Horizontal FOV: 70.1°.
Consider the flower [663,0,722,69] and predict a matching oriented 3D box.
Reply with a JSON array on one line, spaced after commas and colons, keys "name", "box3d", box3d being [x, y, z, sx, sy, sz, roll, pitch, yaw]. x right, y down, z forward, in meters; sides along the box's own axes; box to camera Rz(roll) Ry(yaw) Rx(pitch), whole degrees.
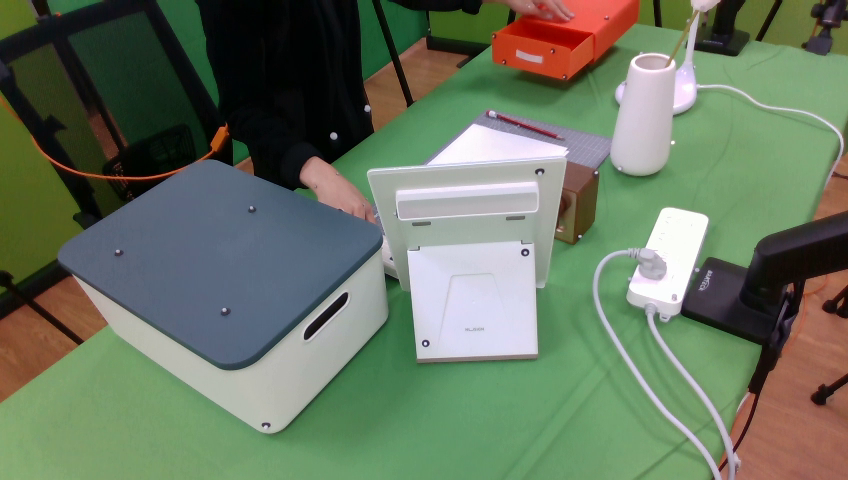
[{"name": "flower", "box3d": [0.379, -0.261, 0.965, 0.044, 0.362, 0.038, 21, 53, 5]}]

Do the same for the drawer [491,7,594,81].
[{"name": "drawer", "box3d": [0.288, -0.446, 1.346, 0.193, 0.073, 0.212, 24, 49, 32]}]

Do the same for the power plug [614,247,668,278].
[{"name": "power plug", "box3d": [0.306, 0.031, 0.851, 0.072, 0.053, 0.035, 24, 49, 33]}]

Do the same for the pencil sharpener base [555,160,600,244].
[{"name": "pencil sharpener base", "box3d": [0.228, -0.057, 0.945, 0.061, 0.107, 0.077, 24, 50, 31]}]

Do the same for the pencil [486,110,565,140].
[{"name": "pencil", "box3d": [0.204, -0.232, 1.226, 0.192, 0.012, 0.012, 29, 52, 33]}]

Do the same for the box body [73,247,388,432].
[{"name": "box body", "box3d": [-0.255, 0.065, 0.827, 0.361, 0.161, 0.255, 21, 48, 29]}]

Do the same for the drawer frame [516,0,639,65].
[{"name": "drawer frame", "box3d": [0.354, -0.506, 1.404, 0.200, 0.083, 0.214, 25, 54, 33]}]

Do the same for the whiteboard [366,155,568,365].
[{"name": "whiteboard", "box3d": [0.059, 0.049, 0.738, 0.217, 0.307, 0.143, -3, 60, 5]}]

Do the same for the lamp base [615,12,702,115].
[{"name": "lamp base", "box3d": [0.484, -0.364, 1.211, 0.180, 0.181, 0.159, -15, 41, -14]}]

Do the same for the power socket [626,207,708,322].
[{"name": "power socket", "box3d": [0.359, 0.025, 0.886, 0.072, 0.033, 0.227, 16, 46, 26]}]

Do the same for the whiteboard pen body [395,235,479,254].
[{"name": "whiteboard pen body", "box3d": [0.019, 0.005, 0.963, 0.140, 0.017, 0.017, 9, 43, 17]}]

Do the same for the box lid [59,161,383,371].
[{"name": "box lid", "box3d": [-0.262, 0.010, 0.777, 0.369, 0.015, 0.264, 21, 48, 29]}]

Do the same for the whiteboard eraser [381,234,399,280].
[{"name": "whiteboard eraser", "box3d": [-0.068, 0.021, 0.942, 0.112, 0.042, 0.055, 23, 56, 26]}]

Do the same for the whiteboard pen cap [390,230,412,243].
[{"name": "whiteboard pen cap", "box3d": [-0.037, -0.006, 0.980, 0.033, 0.018, 0.018, 10, 43, 17]}]

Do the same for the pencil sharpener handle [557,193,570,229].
[{"name": "pencil sharpener handle", "box3d": [0.195, -0.038, 0.908, 0.035, 0.068, 0.031, 24, 50, 30]}]

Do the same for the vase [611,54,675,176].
[{"name": "vase", "box3d": [0.377, -0.209, 1.031, 0.098, 0.201, 0.097, -3, 40, 3]}]
